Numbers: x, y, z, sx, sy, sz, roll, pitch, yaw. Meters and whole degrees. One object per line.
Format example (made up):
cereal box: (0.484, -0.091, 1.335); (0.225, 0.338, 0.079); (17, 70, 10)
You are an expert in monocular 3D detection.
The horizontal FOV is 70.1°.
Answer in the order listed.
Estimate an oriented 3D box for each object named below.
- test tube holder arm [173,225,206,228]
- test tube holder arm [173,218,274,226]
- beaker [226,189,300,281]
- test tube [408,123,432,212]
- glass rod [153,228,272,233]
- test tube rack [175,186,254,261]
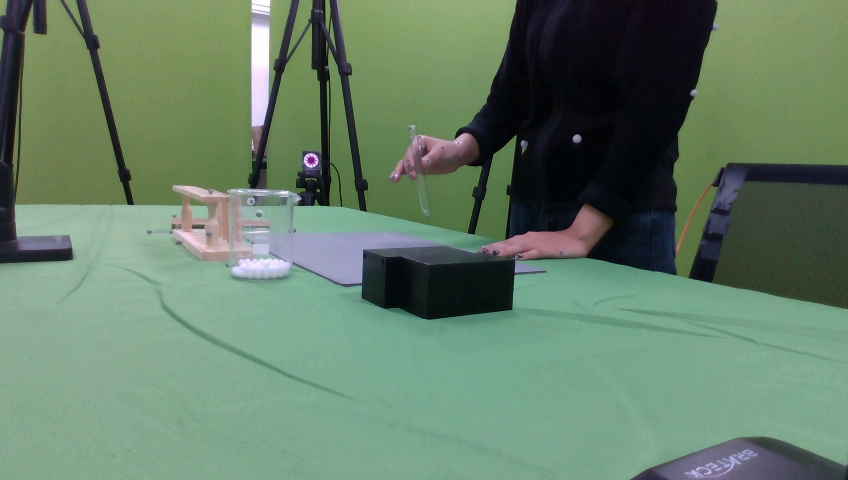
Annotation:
test tube holder arm: (-0.414, -0.030, 1.113); (0.088, 0.015, 0.010); (-1, -21, -25)
test tube holder arm: (-0.371, -0.033, 1.128); (0.179, 0.015, 0.013); (-1, -21, -25)
beaker: (-0.184, -0.007, 0.694); (0.084, 0.100, 0.073); (-1, 8, -29)
test tube: (-0.006, -0.121, 1.012); (0.017, 0.150, 0.017); (-10, 4, 1)
glass rod: (-0.368, -0.017, 1.065); (0.201, 0.008, 0.008); (-2, 8, -27)
test tube rack: (-0.314, -0.030, 0.889); (0.067, 0.085, 0.241); (-2, 8, -30)
